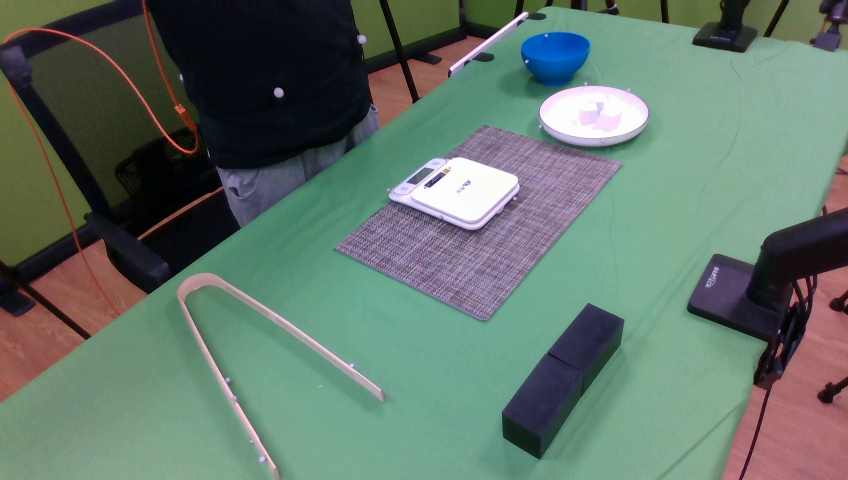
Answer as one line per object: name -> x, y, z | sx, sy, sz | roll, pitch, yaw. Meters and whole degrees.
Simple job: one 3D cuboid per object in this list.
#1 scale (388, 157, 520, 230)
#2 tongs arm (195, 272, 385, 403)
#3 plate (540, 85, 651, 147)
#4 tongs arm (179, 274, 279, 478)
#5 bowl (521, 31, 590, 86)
scale -> 0.050, -0.090, 1.051 | 0.199, 0.032, 0.149 | 24, 49, 31
tongs arm -> -0.199, 0.126, 0.847 | 0.384, 0.028, 0.028 | 26, 52, 32
plate -> 0.333, -0.238, 1.185 | 0.207, 0.039, 0.206 | -4, 41, 4
tongs arm -> -0.260, 0.161, 0.807 | 0.051, 0.026, 0.381 | -28, 44, -25
bowl -> 0.289, -0.395, 1.341 | 0.151, 0.077, 0.150 | -4, 41, 4
